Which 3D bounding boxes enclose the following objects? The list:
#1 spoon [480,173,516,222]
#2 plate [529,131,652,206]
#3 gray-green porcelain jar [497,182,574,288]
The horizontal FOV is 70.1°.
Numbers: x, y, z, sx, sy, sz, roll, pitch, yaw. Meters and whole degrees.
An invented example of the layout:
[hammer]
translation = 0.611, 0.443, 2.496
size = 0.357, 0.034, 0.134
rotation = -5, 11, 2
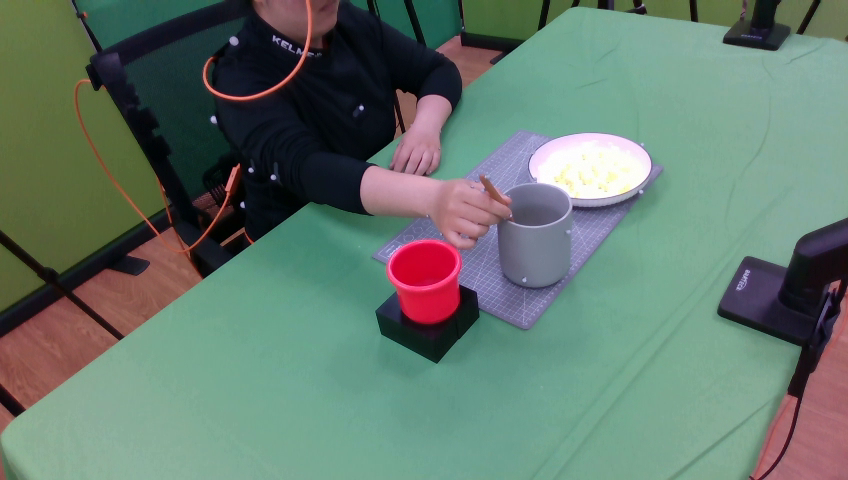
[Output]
[spoon]
translation = 0.114, -0.029, 0.813
size = 0.041, 0.195, 0.021
rotation = 26, 69, 43
[plate]
translation = 0.287, -0.122, 1.056
size = 0.207, 0.039, 0.206
rotation = -5, 40, 5
[gray-green porcelain jar]
translation = 0.161, -0.003, 0.869
size = 0.106, 0.127, 0.105
rotation = -5, 40, 5
